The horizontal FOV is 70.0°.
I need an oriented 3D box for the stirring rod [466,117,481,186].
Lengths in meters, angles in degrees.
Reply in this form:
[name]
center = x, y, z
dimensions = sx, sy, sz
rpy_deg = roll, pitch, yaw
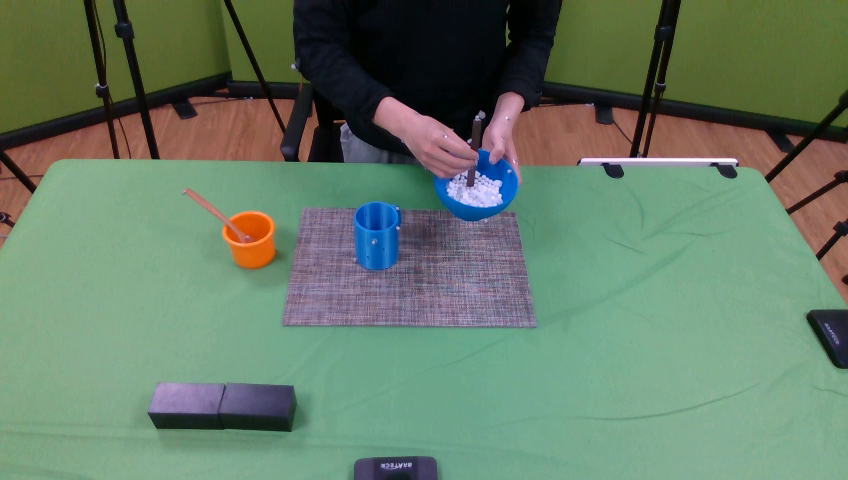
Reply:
[stirring rod]
center = 0.082, -0.145, 1.024
dimensions = 0.014, 0.177, 0.006
rpy_deg = -3, 59, -2

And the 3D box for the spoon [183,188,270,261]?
[spoon]
center = -0.360, -0.029, 1.110
dimensions = 0.021, 0.194, 0.041
rpy_deg = -21, 31, 41

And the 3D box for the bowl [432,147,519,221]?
[bowl]
center = 0.085, -0.086, 1.075
dimensions = 0.151, 0.077, 0.150
rpy_deg = 4, 49, -5

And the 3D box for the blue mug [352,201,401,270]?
[blue mug]
center = -0.082, -0.017, 1.144
dimensions = 0.082, 0.106, 0.116
rpy_deg = 30, 51, 22
